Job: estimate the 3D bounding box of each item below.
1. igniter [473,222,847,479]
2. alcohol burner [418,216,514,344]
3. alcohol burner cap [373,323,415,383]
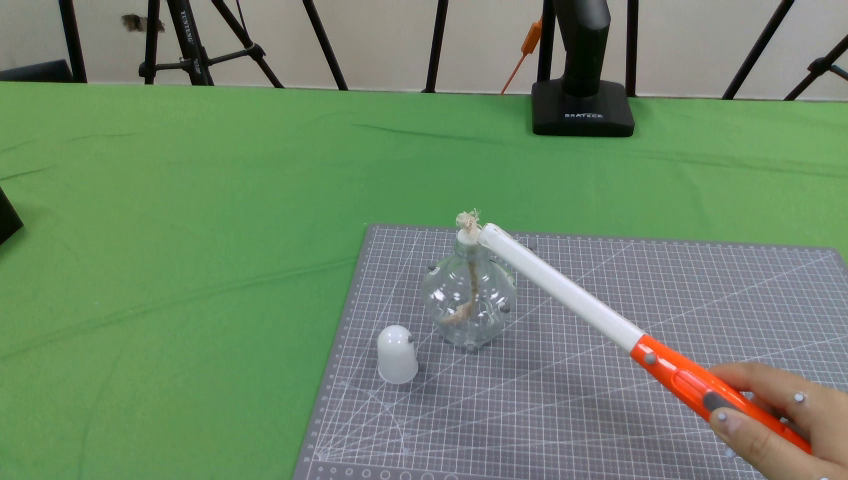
[{"bbox_3d":[0.138,0.069,0.364,0.274,0.058,0.025,38,99,30],"label":"igniter"},{"bbox_3d":[0.034,0.026,0.476,0.078,0.120,0.077,0,43,0],"label":"alcohol burner"},{"bbox_3d":[-0.024,0.084,0.468,0.034,0.048,0.033,-1,42,1],"label":"alcohol burner cap"}]
